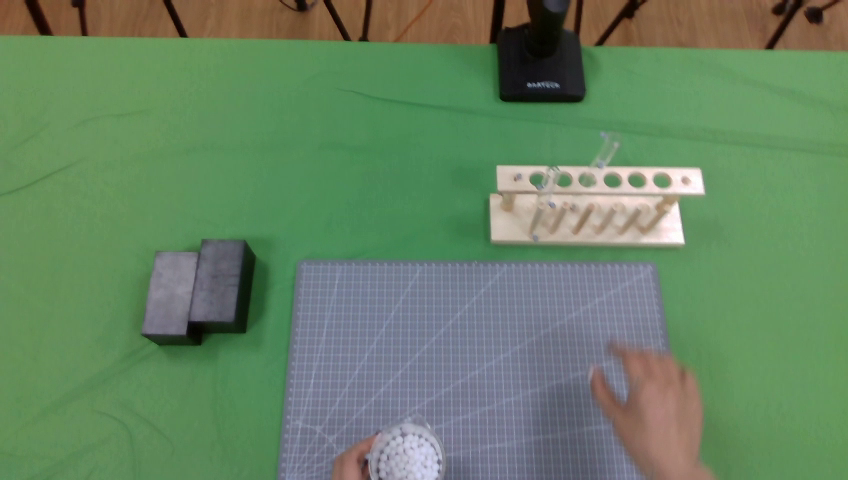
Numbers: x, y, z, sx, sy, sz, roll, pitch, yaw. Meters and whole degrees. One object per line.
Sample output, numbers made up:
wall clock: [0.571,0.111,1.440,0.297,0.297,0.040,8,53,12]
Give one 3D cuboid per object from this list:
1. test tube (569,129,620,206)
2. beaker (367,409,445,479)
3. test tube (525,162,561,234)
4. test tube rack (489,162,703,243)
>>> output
test tube: [0.196,-0.080,0.708,0.017,0.151,0.017,2,65,-3]
beaker: [-0.017,0.222,0.624,0.074,0.101,0.083,13,67,4]
test tube: [0.136,-0.045,0.698,0.017,0.151,0.017,0,65,0]
test tube rack: [0.206,-0.044,0.747,0.242,0.086,0.066,1,67,-1]
